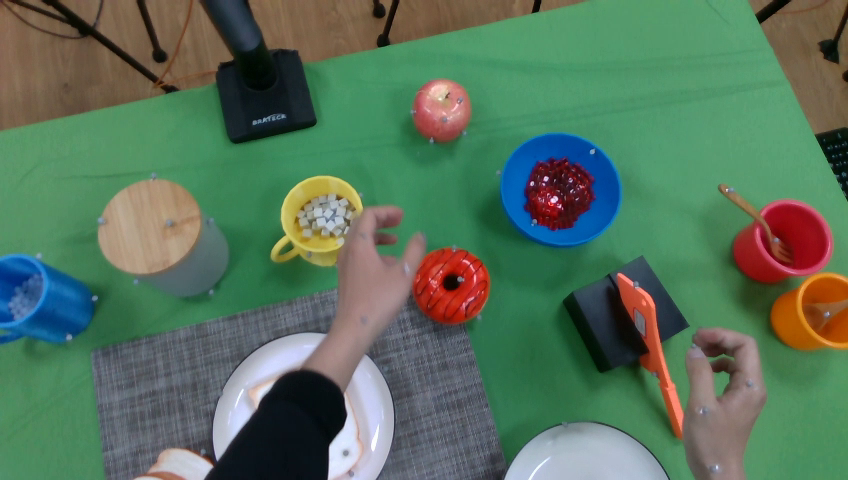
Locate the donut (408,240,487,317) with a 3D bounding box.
[{"bbox_3d":[0.030,0.048,0.755,0.099,0.048,0.098,1,74,-3],"label":"donut"}]

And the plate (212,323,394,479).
[{"bbox_3d":[-0.138,0.202,0.706,0.208,0.039,0.206,1,74,-2],"label":"plate"}]

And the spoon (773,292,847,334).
[{"bbox_3d":[0.514,0.062,0.717,0.022,0.194,0.041,-2,64,-50],"label":"spoon"}]

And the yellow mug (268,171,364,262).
[{"bbox_3d":[-0.140,-0.020,0.761,0.131,0.064,0.099,-37,77,-11],"label":"yellow mug"}]

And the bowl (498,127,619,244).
[{"bbox_3d":[0.164,-0.059,0.778,0.151,0.077,0.150,1,74,-2],"label":"bowl"}]

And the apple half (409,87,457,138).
[{"bbox_3d":[0.004,-0.159,0.803,0.081,0.081,0.033,40,71,10],"label":"apple half"}]

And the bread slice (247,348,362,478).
[{"bbox_3d":[-0.131,0.205,0.706,0.107,0.018,0.133,-25,75,-9],"label":"bread slice"}]

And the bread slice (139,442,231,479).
[{"bbox_3d":[-0.274,0.297,0.675,0.105,0.019,0.131,24,76,5],"label":"bread slice"}]

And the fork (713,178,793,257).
[{"bbox_3d":[0.406,-0.026,0.739,0.209,0.018,0.028,30,68,-36],"label":"fork"}]

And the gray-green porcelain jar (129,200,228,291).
[{"bbox_3d":[-0.297,0.001,0.718,0.106,0.127,0.105,1,73,-2],"label":"gray-green porcelain jar"}]

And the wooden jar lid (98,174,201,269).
[{"bbox_3d":[-0.296,-0.018,0.659,0.108,0.021,0.107,0,72,-1],"label":"wooden jar lid"}]

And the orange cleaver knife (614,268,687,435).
[{"bbox_3d":[0.268,0.133,0.721,0.012,0.076,0.212,-23,105,-8],"label":"orange cleaver knife"}]

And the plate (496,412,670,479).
[{"bbox_3d":[0.180,0.305,0.690,0.209,0.038,0.208,1,73,-2],"label":"plate"}]

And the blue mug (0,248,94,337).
[{"bbox_3d":[-0.464,0.073,0.701,0.116,0.106,0.082,-40,78,-12],"label":"blue mug"}]

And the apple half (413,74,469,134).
[{"bbox_3d":[0.029,-0.187,0.814,0.080,0.075,0.053,40,70,14],"label":"apple half"}]
